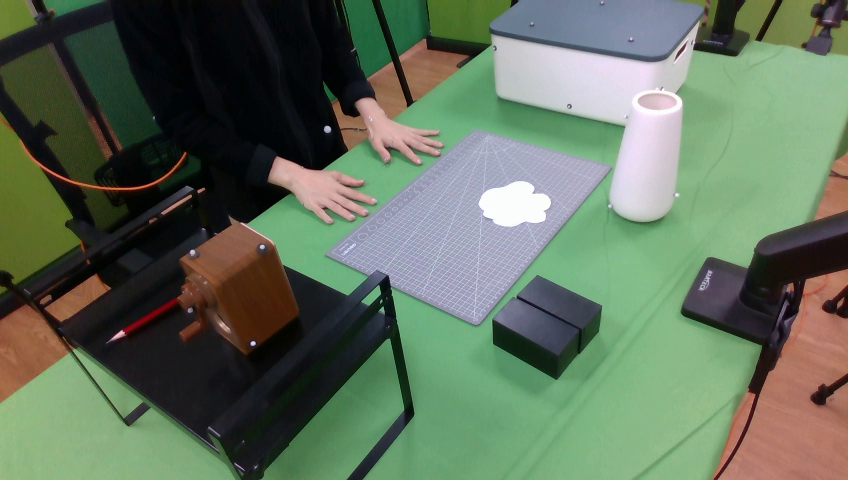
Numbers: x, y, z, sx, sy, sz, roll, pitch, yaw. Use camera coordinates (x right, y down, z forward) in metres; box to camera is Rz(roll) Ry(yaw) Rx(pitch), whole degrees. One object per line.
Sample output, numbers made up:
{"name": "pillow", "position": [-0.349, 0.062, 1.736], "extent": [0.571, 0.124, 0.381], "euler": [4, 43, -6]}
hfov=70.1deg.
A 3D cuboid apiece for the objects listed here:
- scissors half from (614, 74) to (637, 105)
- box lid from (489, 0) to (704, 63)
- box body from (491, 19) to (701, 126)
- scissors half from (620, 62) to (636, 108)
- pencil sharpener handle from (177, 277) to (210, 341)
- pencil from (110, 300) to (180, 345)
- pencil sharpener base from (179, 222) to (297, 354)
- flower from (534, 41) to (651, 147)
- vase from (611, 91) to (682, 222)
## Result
{"name": "scissors half", "position": [0.427, -0.330, 1.306], "extent": [0.013, 0.040, 0.174], "euler": [31, 31, -14]}
{"name": "box lid", "position": [0.345, -0.441, 1.217], "extent": [0.369, 0.015, 0.264], "euler": [21, 49, 29]}
{"name": "box body", "position": [0.352, -0.384, 1.268], "extent": [0.361, 0.161, 0.255], "euler": [21, 48, 29]}
{"name": "scissors half", "position": [0.434, -0.340, 1.298], "extent": [0.013, 0.040, 0.174], "euler": [25, 42, -11]}
{"name": "pencil sharpener handle", "position": [-0.220, 0.067, 0.564], "extent": [0.036, 0.068, 0.031], "euler": [34, 55, 24]}
{"name": "pencil", "position": [-0.257, 0.059, 0.675], "extent": [0.195, 0.012, 0.012], "euler": [-36, 48, -27]}
{"name": "pencil sharpener base", "position": [-0.182, 0.050, 0.598], "extent": [0.061, 0.107, 0.077], "euler": [27, 51, 33]}
{"name": "flower", "position": [0.364, -0.319, 1.319], "extent": [0.038, 0.044, 0.359], "euler": [-4, 48, -50]}
{"name": "vase", "position": [0.348, -0.125, 0.935], "extent": [0.098, 0.201, 0.097], "euler": [-3, 40, 3]}
